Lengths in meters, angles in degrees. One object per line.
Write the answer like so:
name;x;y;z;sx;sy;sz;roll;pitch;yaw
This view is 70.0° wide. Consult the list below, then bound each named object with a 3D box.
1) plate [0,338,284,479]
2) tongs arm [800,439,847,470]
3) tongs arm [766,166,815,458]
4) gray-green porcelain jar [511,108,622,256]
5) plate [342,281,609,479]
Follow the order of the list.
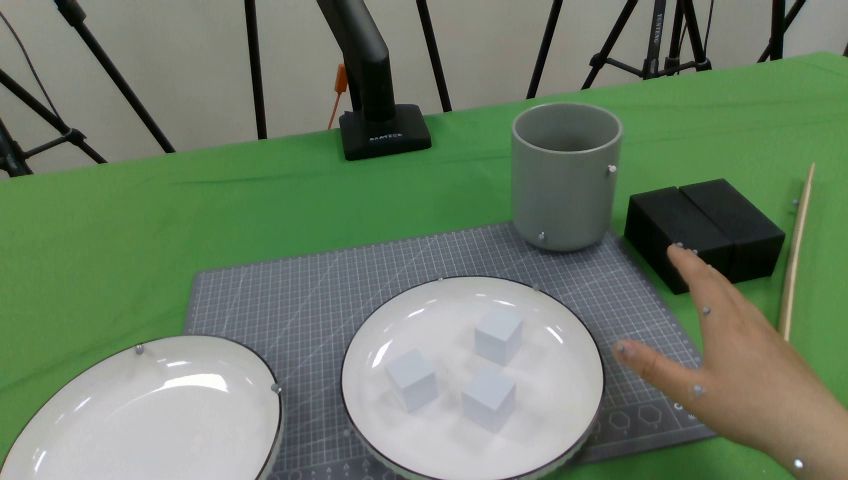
plate;-0.207;0.162;0.458;0.209;0.038;0.207;-4;38;4
tongs arm;0.415;0.060;0.521;0.050;0.027;0.384;26;49;35
tongs arm;0.351;0.036;0.564;0.028;0.028;0.386;18;44;23
gray-green porcelain jar;0.142;-0.056;0.621;0.106;0.127;0.105;-4;38;3
plate;0.040;0.114;0.489;0.207;0.039;0.205;-3;38;3
